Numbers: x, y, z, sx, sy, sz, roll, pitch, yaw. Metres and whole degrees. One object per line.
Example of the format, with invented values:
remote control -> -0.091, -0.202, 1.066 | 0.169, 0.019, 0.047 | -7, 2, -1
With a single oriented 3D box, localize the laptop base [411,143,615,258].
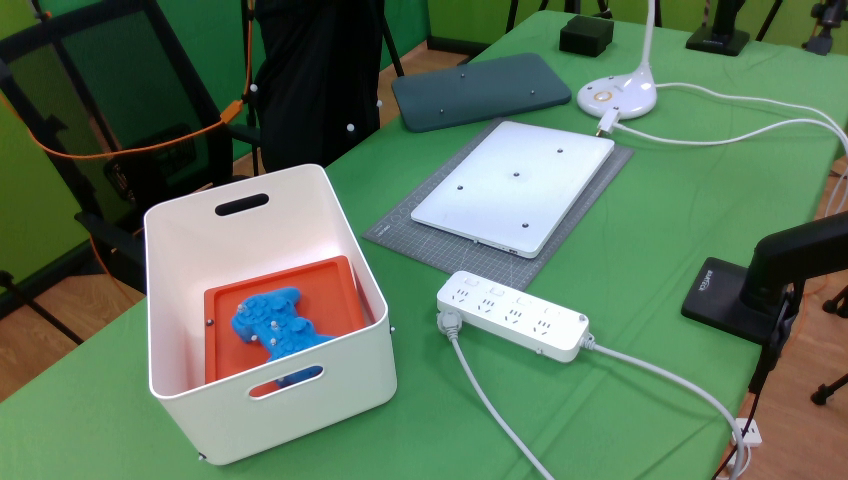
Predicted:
laptop base -> 0.167, -0.102, 1.074 | 0.234, 0.023, 0.355 | 16, 45, 30

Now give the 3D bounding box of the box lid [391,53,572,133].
box lid -> 0.122, -0.339, 1.366 | 0.372, 0.015, 0.261 | -12, 40, -5

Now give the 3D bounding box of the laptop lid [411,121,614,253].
laptop lid -> 0.164, -0.112, 1.068 | 0.240, 0.013, 0.357 | 19, 46, 30

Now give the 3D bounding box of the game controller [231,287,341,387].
game controller -> -0.167, 0.110, 0.734 | 0.097, 0.052, 0.154 | -34, 47, -22

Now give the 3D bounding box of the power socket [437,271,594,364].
power socket -> 0.118, 0.102, 0.830 | 0.225, 0.033, 0.072 | 20, 48, 28

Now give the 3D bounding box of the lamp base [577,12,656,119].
lamp base -> 0.404, -0.360, 1.218 | 0.180, 0.181, 0.159 | -23, 43, -23

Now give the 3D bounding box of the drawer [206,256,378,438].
drawer -> -0.177, 0.130, 0.787 | 0.195, 0.073, 0.210 | -14, 39, -9

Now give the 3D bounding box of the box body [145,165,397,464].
box body -> -0.205, 0.080, 0.802 | 0.255, 0.161, 0.361 | -18, 41, -13

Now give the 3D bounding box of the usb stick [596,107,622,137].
usb stick -> 0.355, -0.223, 1.168 | 0.027, 0.059, 0.022 | 37, 14, 34

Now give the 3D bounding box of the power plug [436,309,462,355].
power plug -> 0.033, 0.126, 0.810 | 0.035, 0.053, 0.072 | 2, 59, 7

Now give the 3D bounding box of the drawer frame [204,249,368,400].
drawer frame -> -0.174, 0.129, 0.790 | 0.202, 0.083, 0.212 | -16, 45, -8
